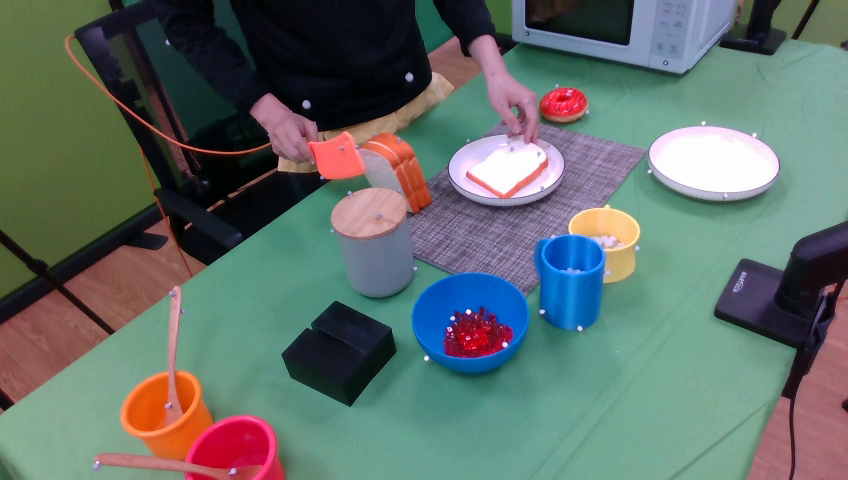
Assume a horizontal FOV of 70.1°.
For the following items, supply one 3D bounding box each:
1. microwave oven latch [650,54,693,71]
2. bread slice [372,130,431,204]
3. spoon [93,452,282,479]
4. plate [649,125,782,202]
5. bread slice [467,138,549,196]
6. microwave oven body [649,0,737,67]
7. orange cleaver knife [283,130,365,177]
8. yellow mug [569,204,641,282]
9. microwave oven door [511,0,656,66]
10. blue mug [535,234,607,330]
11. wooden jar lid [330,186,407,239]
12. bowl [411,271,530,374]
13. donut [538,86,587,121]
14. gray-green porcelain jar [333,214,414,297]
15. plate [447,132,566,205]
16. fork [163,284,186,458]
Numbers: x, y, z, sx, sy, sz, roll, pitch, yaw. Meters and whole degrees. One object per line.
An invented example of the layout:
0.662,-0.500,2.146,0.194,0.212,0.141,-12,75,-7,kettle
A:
0.531,-0.386,1.301,0.078,0.029,0.030,26,51,33,microwave oven latch
-0.042,-0.127,1.038,0.106,0.135,0.018,30,61,33,bread slice
-0.240,0.239,0.632,0.195,0.021,0.041,26,33,-32,spoon
0.493,-0.127,1.036,0.207,0.039,0.206,-4,41,4,plate
0.155,-0.133,1.081,0.132,0.019,0.104,-41,52,-14,bread slice
0.475,-0.602,1.411,0.438,0.261,0.327,23,50,32,microwave oven body
-0.168,-0.140,0.994,0.012,0.077,0.209,-30,24,-37,orange cleaver knife
0.268,-0.005,0.904,0.099,0.064,0.130,7,41,15,yellow mug
0.351,-0.540,1.349,0.353,0.245,0.039,24,50,31,microwave oven door
0.191,0.048,0.824,0.082,0.106,0.115,-26,44,-20,blue mug
-0.077,-0.035,0.846,0.108,0.021,0.108,-5,41,5,wooden jar lid
0.061,0.120,0.780,0.151,0.077,0.150,-4,40,4,bowl
0.284,-0.280,1.239,0.099,0.048,0.098,-5,42,5,donut
-0.071,0.012,0.887,0.106,0.127,0.105,-4,41,4,gray-green porcelain jar
0.146,-0.124,1.076,0.209,0.038,0.208,-4,41,4,plate
-0.302,0.157,0.733,0.028,0.019,0.207,-4,84,16,fork
